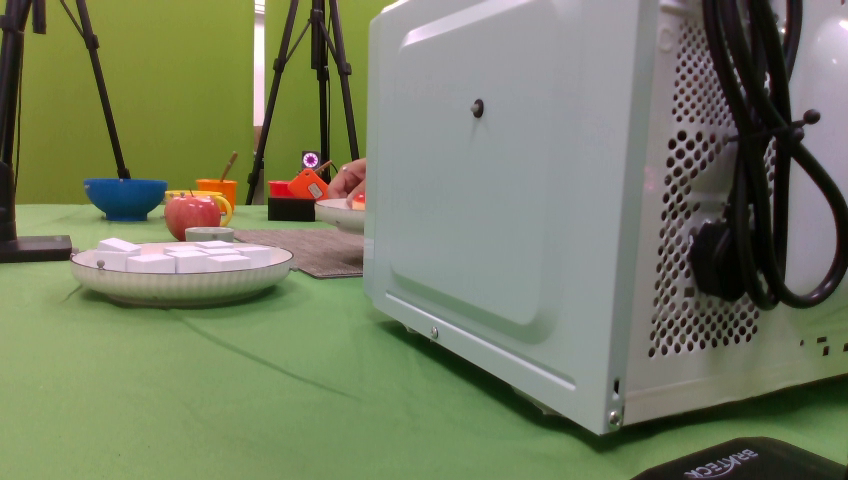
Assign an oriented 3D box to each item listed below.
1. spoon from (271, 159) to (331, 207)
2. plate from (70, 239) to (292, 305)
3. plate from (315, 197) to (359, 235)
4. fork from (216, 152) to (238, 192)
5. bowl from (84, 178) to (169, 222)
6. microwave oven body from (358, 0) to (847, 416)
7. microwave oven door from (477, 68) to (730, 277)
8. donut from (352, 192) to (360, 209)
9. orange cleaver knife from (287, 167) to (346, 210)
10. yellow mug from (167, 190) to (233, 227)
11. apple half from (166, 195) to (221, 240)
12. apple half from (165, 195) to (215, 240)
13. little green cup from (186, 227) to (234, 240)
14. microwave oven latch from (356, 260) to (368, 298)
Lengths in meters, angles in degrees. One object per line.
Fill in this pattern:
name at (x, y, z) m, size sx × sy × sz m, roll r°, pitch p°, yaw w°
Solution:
spoon at (-0.308, -0.142, 1.514) m, size 0.193 × 0.021 × 0.041 m, roll -41°, pitch 5°, yaw 9°
plate at (-0.242, 0.031, 0.618) m, size 0.208 × 0.039 × 0.207 m, roll 2°, pitch 8°, yaw 0°
plate at (-0.043, -0.033, 0.820) m, size 0.209 × 0.038 × 0.209 m, roll 2°, pitch 9°, yaw 0°
fork at (-0.455, -0.132, 1.366) m, size 0.028 × 0.018 × 0.207 m, roll -2°, pitch -35°, yaw -37°
bowl at (-0.584, -0.078, 1.194) m, size 0.151 × 0.077 × 0.151 m, roll 3°, pitch 8°, yaw 0°
microwave oven body at (0.211, -0.047, 0.475) m, size 0.444 × 0.260 × 0.324 m, roll -1°, pitch 7°, yaw -28°
microwave oven door at (0.218, -0.097, 0.825) m, size 0.039 × 0.243 × 0.354 m, roll -5°, pitch 10°, yaw -42°
donut at (-0.050, -0.046, 0.836) m, size 0.099 × 0.048 × 0.099 m, roll 4°, pitch 8°, yaw 0°
orange cleaver knife at (-0.209, -0.089, 1.383) m, size 0.212 × 0.077 × 0.012 m, roll 31°, pitch 3°, yaw -15°
yellow mug at (-0.415, -0.057, 1.132) m, size 0.130 × 0.064 × 0.100 m, roll 6°, pitch 8°, yaw 16°
apple half at (-0.351, -0.031, 0.935) m, size 0.081 × 0.074 × 0.053 m, roll 1°, pitch 11°, yaw -40°
apple half at (-0.377, -0.038, 0.964) m, size 0.082 × 0.081 × 0.032 m, roll -4°, pitch 15°, yaw -39°
little green cup at (-0.285, 0.005, 0.805) m, size 0.061 × 0.038 × 0.061 m, roll 2°, pitch 8°, yaw 0°
microwave oven latch at (-0.020, 0.033, 0.530) m, size 0.079 × 0.029 × 0.030 m, roll 0°, pitch 7°, yaw -26°
